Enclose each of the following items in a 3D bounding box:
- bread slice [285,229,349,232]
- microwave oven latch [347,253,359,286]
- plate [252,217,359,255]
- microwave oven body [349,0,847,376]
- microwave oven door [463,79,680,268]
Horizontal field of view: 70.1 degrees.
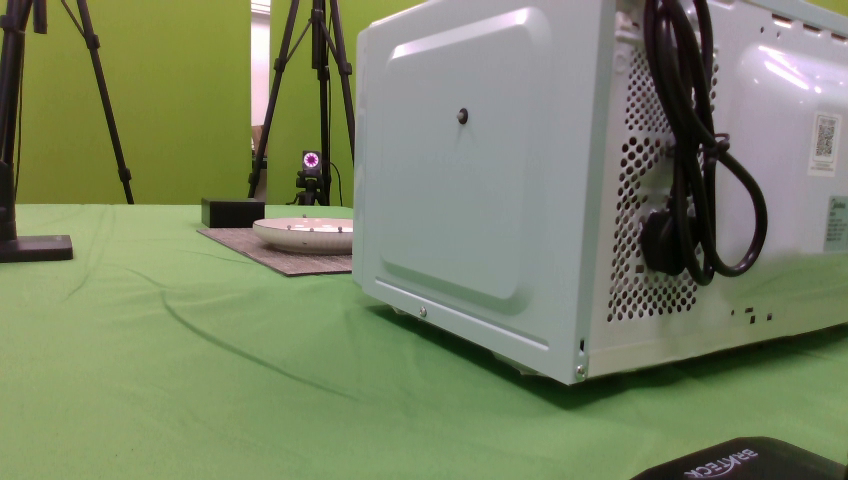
[{"bbox_3d":[-0.153,-0.005,0.921,0.132,0.019,0.104,0,7,-30],"label":"bread slice"},{"bbox_3d":[-0.034,0.028,0.581,0.079,0.029,0.030,-1,7,-31],"label":"microwave oven latch"},{"bbox_3d":[-0.155,-0.007,0.924,0.209,0.038,0.209,3,7,0],"label":"plate"},{"bbox_3d":[0.199,-0.053,0.540,0.444,0.260,0.324,-1,7,-32],"label":"microwave oven body"},{"bbox_3d":[0.195,-0.104,0.901,0.039,0.243,0.354,-4,10,-40],"label":"microwave oven door"}]
